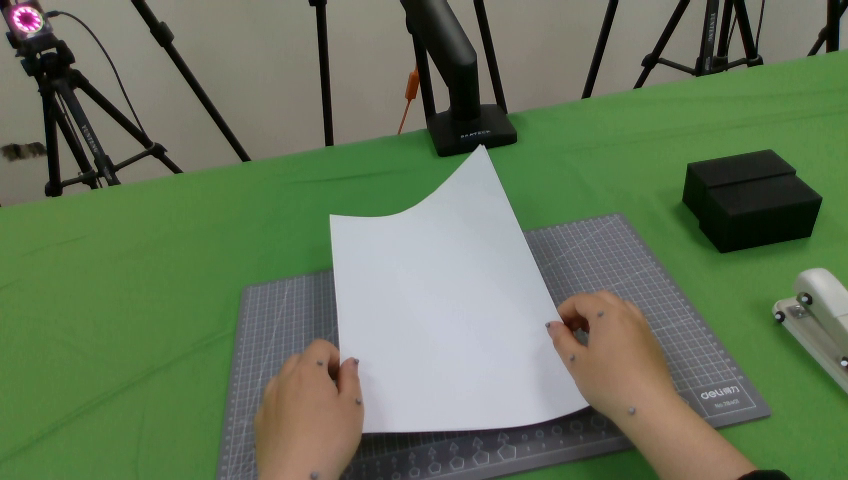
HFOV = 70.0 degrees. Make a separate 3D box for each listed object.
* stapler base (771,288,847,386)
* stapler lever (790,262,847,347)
[{"bbox_3d":[0.354,0.082,0.518,0.041,0.025,0.129,-15,40,-3],"label":"stapler base"},{"bbox_3d":[0.351,0.064,0.502,0.027,0.040,0.116,-15,39,-3],"label":"stapler lever"}]
